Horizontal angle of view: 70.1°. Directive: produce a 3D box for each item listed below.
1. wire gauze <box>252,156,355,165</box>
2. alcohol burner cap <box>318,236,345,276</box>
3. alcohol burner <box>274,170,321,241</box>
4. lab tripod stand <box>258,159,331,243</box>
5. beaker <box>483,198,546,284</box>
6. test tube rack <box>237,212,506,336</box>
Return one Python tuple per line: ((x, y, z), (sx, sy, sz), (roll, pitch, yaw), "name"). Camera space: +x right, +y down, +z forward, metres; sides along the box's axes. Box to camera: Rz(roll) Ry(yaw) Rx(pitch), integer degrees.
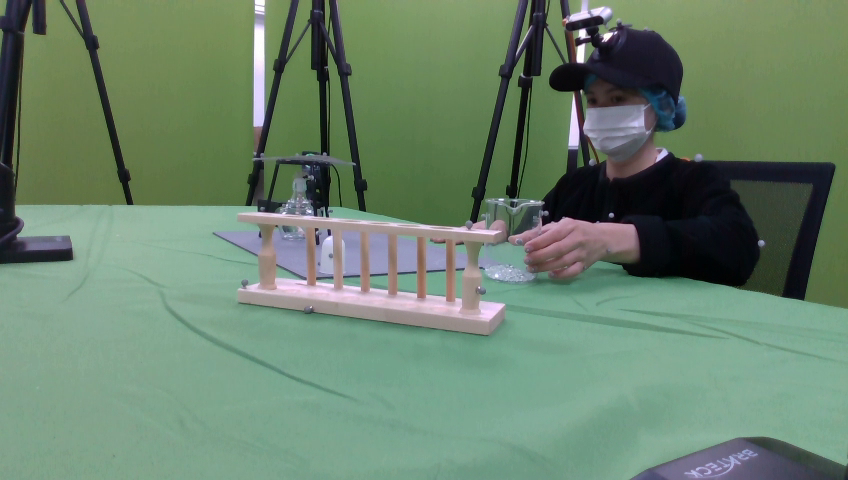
((-0.196, -0.133, 0.999), (0.121, 0.011, 0.125), (4, 5, 22), "wire gauze")
((-0.110, 0.019, 0.723), (0.034, 0.048, 0.034), (2, 6, 0), "alcohol burner cap")
((-0.212, -0.058, 1.015), (0.078, 0.119, 0.078), (4, 5, 0), "alcohol burner")
((-0.202, -0.067, 1.010), (0.148, 0.131, 0.148), (2, 5, 0), "lab tripod stand")
((0.110, 0.000, 0.744), (0.074, 0.100, 0.084), (3, 7, 8), "beaker")
((-0.049, 0.024, 0.552), (0.242, 0.085, 0.067), (5, 8, 18), "test tube rack")
